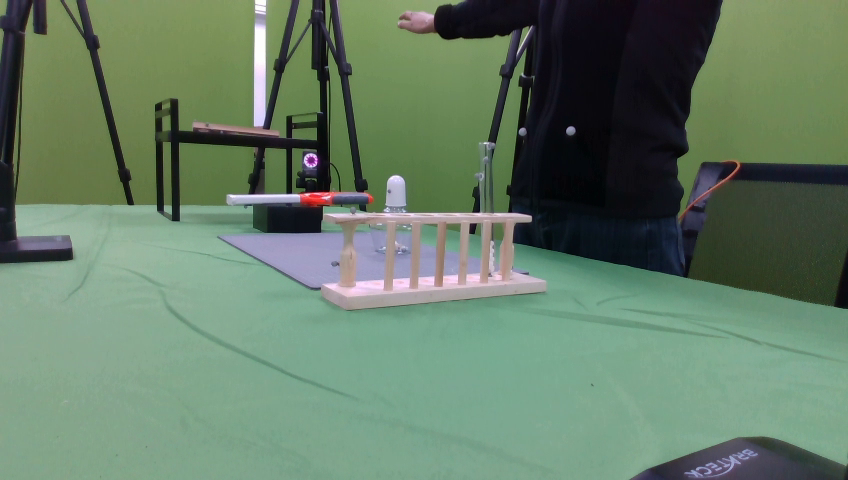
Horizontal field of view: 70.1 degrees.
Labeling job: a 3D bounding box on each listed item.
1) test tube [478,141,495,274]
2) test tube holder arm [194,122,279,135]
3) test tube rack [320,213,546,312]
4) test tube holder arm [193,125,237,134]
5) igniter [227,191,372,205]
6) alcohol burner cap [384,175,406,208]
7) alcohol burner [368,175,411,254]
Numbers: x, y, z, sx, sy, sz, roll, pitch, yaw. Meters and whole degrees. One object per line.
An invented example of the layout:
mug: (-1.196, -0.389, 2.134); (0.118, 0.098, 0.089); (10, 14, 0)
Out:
test tube: (0.071, -0.036, 0.683); (0.017, 0.150, 0.017); (-2, 8, 1)
test tube holder arm: (-0.401, -0.238, 1.301); (0.179, 0.015, 0.013); (-2, -21, -29)
test tube rack: (0.017, 0.017, 0.638); (0.244, 0.085, 0.066); (-2, 9, -31)
test tube holder arm: (-0.443, -0.235, 1.284); (0.088, 0.015, 0.010); (-2, -20, -28)
igniter: (-0.232, -0.080, 1.162); (0.278, 0.025, 0.057); (-3, 12, -28)
alcohol burner cap: (-0.044, -0.074, 0.908); (0.034, 0.048, 0.034); (0, 12, 0)
alcohol burner: (-0.045, -0.038, 0.913); (0.078, 0.119, 0.078); (5, 7, 0)
